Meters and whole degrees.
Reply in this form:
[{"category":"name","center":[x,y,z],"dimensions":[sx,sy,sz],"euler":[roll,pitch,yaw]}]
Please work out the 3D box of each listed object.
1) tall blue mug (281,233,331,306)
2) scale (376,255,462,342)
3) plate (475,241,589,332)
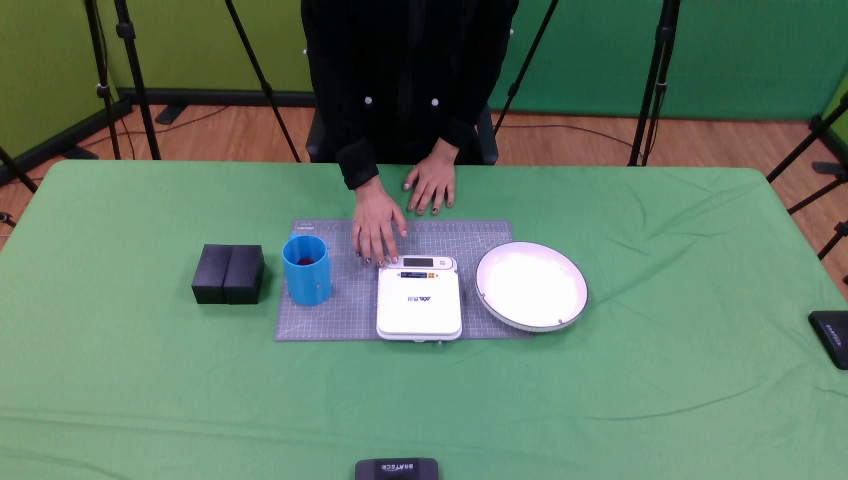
[{"category":"tall blue mug","center":[-0.219,0.046,1.073],"dimensions":[0.107,0.108,0.077],"euler":[28,52,21]},{"category":"scale","center":[-0.010,0.096,1.094],"dimensions":[0.149,0.032,0.199],"euler":[2,46,-3]},{"category":"plate","center":[0.195,0.087,1.112],"dimensions":[0.209,0.038,0.208],"euler":[3,46,-3]}]
